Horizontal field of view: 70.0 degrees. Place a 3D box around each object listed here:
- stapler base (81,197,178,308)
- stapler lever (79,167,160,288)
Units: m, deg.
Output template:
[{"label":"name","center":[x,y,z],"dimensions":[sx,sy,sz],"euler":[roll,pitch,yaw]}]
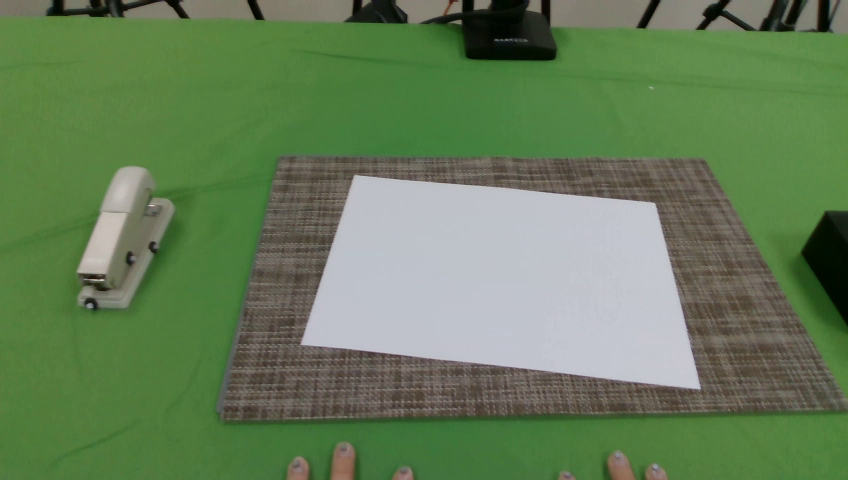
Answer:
[{"label":"stapler base","center":[-0.253,0.002,0.522],"dimensions":[0.041,0.024,0.129],"euler":[2,46,1]},{"label":"stapler lever","center":[-0.252,-0.014,0.504],"dimensions":[0.027,0.040,0.117],"euler":[2,45,2]}]
